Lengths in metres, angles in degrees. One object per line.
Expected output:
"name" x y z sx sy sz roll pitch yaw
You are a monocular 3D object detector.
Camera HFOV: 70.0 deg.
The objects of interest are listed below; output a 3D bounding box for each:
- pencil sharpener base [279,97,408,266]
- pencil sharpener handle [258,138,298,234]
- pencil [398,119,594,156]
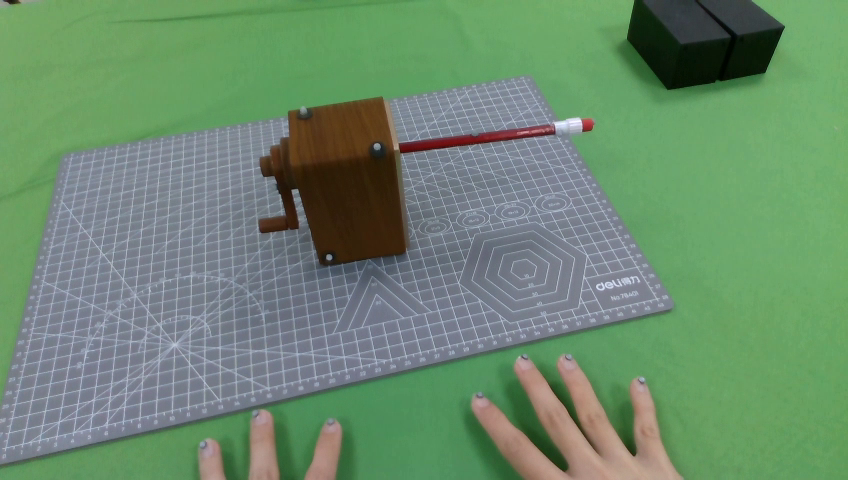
"pencil sharpener base" -0.055 -0.039 0.436 0.077 0.108 0.060 -10 49 -5
"pencil sharpener handle" -0.106 -0.035 0.418 0.031 0.068 0.035 -10 30 -5
"pencil" 0.025 -0.068 0.424 0.194 0.012 0.012 -9 48 -5
